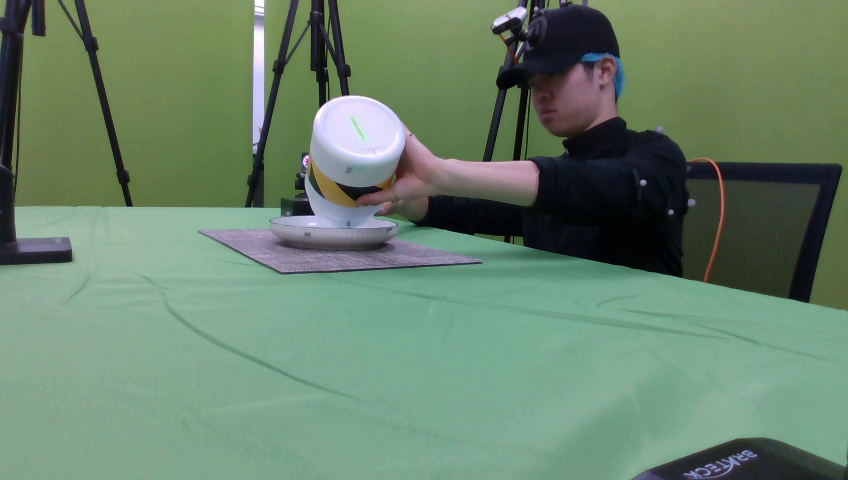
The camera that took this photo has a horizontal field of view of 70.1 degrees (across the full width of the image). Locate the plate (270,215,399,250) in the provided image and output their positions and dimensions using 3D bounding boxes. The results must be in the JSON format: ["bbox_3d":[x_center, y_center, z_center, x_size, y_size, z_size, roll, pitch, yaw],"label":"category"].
[{"bbox_3d":[-0.145,-0.013,0.992,0.208,0.039,0.207,2,7,0],"label":"plate"}]

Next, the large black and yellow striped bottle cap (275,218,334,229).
[{"bbox_3d":[-0.236,-0.033,1.197,0.115,0.019,0.115,2,3,0],"label":"large black and yellow striped bottle cap"}]

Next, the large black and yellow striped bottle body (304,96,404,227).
[{"bbox_3d":[-0.111,-0.111,0.916,0.131,0.130,0.184,0,-31,-17],"label":"large black and yellow striped bottle body"}]
